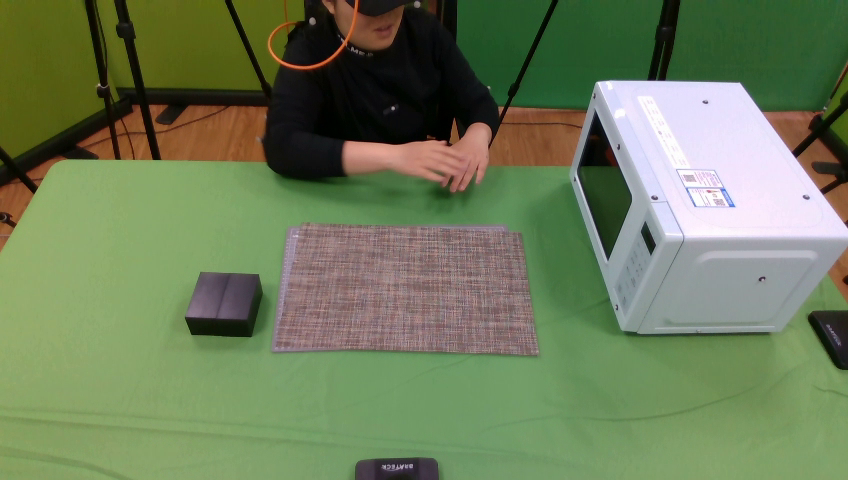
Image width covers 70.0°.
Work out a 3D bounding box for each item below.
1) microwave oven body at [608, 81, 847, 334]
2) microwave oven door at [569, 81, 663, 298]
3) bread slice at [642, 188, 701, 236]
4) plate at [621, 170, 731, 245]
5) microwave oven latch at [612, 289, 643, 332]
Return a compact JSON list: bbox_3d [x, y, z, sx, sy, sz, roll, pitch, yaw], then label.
[{"bbox_3d":[0.501,-0.070,1.132,0.326,0.261,0.438,-1,45,-4],"label":"microwave oven body"},{"bbox_3d":[0.353,-0.104,1.147,0.039,0.245,0.353,0,46,-4],"label":"microwave oven door"},{"bbox_3d":[0.494,-0.057,1.197,0.105,0.019,0.131,6,43,4],"label":"bread slice"},{"bbox_3d":[0.490,-0.060,1.194,0.209,0.038,0.208,3,45,-2],"label":"plate"},{"bbox_3d":[0.357,0.124,1.068,0.030,0.029,0.078,0,45,-3],"label":"microwave oven latch"}]
